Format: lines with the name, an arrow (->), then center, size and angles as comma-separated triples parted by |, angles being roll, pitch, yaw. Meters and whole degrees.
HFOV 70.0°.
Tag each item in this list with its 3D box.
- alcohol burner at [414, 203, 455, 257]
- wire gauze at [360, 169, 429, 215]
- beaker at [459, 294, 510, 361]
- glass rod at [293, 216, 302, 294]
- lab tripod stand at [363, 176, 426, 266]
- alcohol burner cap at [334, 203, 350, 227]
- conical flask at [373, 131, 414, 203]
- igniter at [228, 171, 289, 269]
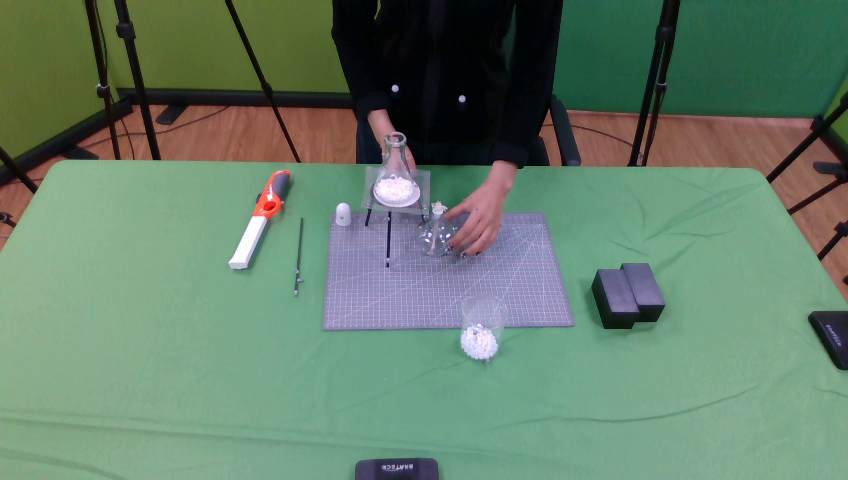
alcohol burner -> 0.022, -0.025, 1.158 | 0.078, 0.119, 0.077 | 4, 45, -3
wire gauze -> -0.052, -0.092, 1.111 | 0.125, 0.011, 0.120 | 3, 43, 1
beaker -> 0.095, 0.147, 1.012 | 0.083, 0.101, 0.074 | 26, 49, 21
glass rod -> -0.242, 0.024, 1.166 | 0.008, 0.008, 0.198 | -2, 47, -5
lab tripod stand -> -0.058, -0.047, 1.159 | 0.148, 0.132, 0.147 | 3, 44, -3
alcohol burner cap -> -0.166, -0.054, 1.221 | 0.034, 0.048, 0.033 | 2, 46, -2
conical flask -> -0.053, -0.131, 1.067 | 0.075, 0.122, 0.075 | 2, 44, -2
igniter -> -0.328, -0.049, 1.218 | 0.057, 0.025, 0.275 | 1, 45, 11
